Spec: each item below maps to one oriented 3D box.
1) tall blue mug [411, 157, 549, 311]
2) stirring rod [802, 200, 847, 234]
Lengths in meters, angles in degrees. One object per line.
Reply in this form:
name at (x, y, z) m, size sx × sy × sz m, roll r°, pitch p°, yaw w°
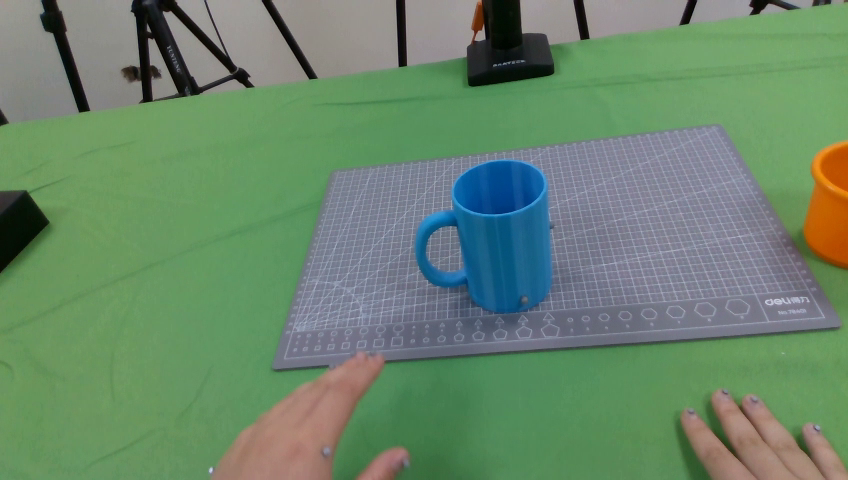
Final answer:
tall blue mug at (0.052, 0.003, 0.502) m, size 0.107 × 0.109 × 0.077 m, roll -31°, pitch 45°, yaw -21°
stirring rod at (0.379, -0.053, 0.465) m, size 0.176 × 0.006 × 0.014 m, roll -40°, pitch 26°, yaw 39°
